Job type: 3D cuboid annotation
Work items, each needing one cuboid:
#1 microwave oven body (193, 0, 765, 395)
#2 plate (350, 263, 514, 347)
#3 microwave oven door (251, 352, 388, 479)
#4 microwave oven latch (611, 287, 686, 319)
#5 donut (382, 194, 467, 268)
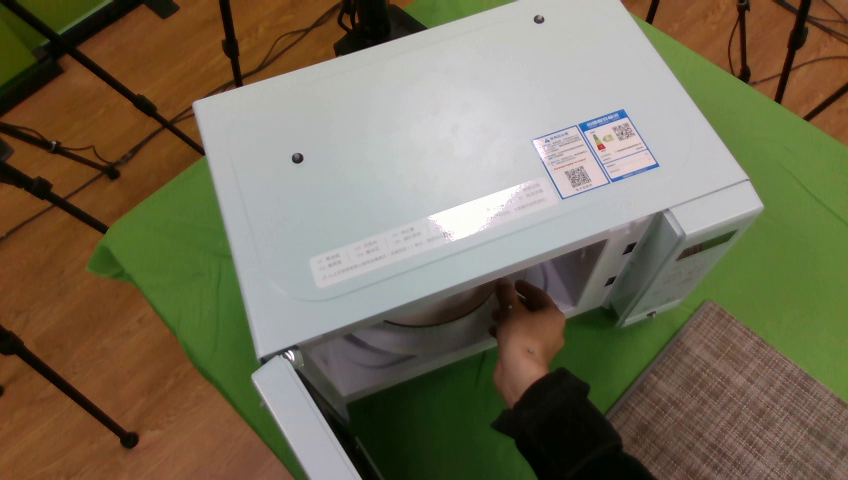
[{"bbox_3d":[0.037,-0.043,0.657,0.442,0.262,0.323,-20,65,-6],"label":"microwave oven body"},{"bbox_3d":[-0.004,0.026,0.676,0.209,0.038,0.207,-3,59,5],"label":"plate"},{"bbox_3d":[-0.013,0.267,0.504,0.039,0.246,0.353,-34,67,-13],"label":"microwave oven door"},{"bbox_3d":[0.260,0.064,0.702,0.079,0.030,0.030,-20,65,-6],"label":"microwave oven latch"},{"bbox_3d":[0.001,-0.011,0.694,0.099,0.048,0.098,5,51,-6],"label":"donut"}]
